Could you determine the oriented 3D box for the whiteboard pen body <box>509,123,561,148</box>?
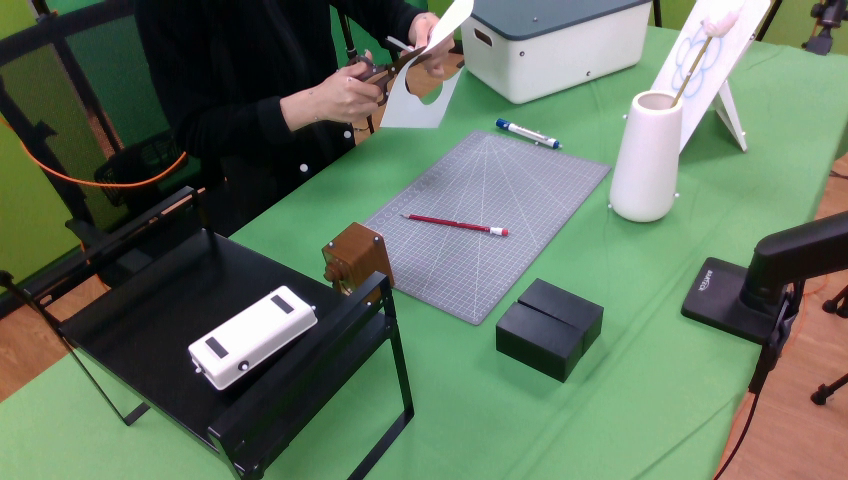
[{"bbox_3d":[0.209,-0.212,1.195,0.139,0.017,0.017,30,52,33],"label":"whiteboard pen body"}]

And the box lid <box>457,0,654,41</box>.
[{"bbox_3d":[0.285,-0.522,1.323,0.373,0.015,0.261,-22,43,-16],"label":"box lid"}]

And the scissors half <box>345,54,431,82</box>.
[{"bbox_3d":[-0.058,-0.264,0.907,0.174,0.040,0.013,5,41,39],"label":"scissors half"}]

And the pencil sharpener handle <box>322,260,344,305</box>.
[{"bbox_3d":[-0.131,0.061,0.839,0.035,0.068,0.031,29,56,27],"label":"pencil sharpener handle"}]

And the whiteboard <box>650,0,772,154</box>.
[{"bbox_3d":[0.543,-0.298,1.076,0.144,0.305,0.216,12,40,-7],"label":"whiteboard"}]

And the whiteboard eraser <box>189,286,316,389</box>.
[{"bbox_3d":[-0.166,0.096,0.593,0.113,0.042,0.055,-36,47,-29],"label":"whiteboard eraser"}]

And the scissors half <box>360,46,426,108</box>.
[{"bbox_3d":[-0.047,-0.246,0.914,0.013,0.040,0.174,-44,9,-38],"label":"scissors half"}]

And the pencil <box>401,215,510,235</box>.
[{"bbox_3d":[0.049,-0.027,1.007,0.193,0.012,0.012,10,43,21],"label":"pencil"}]

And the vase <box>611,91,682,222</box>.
[{"bbox_3d":[0.348,-0.125,0.935,0.098,0.201,0.097,-3,40,3],"label":"vase"}]

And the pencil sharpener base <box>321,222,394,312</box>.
[{"bbox_3d":[-0.096,0.041,0.873,0.061,0.107,0.077,26,54,32],"label":"pencil sharpener base"}]

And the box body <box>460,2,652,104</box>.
[{"bbox_3d":[0.291,-0.465,1.371,0.365,0.161,0.252,-22,42,-16],"label":"box body"}]

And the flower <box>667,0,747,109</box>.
[{"bbox_3d":[0.354,-0.187,0.879,0.038,0.362,0.044,30,48,14],"label":"flower"}]

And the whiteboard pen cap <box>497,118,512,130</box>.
[{"bbox_3d":[0.165,-0.235,1.227,0.033,0.018,0.018,31,53,31],"label":"whiteboard pen cap"}]
